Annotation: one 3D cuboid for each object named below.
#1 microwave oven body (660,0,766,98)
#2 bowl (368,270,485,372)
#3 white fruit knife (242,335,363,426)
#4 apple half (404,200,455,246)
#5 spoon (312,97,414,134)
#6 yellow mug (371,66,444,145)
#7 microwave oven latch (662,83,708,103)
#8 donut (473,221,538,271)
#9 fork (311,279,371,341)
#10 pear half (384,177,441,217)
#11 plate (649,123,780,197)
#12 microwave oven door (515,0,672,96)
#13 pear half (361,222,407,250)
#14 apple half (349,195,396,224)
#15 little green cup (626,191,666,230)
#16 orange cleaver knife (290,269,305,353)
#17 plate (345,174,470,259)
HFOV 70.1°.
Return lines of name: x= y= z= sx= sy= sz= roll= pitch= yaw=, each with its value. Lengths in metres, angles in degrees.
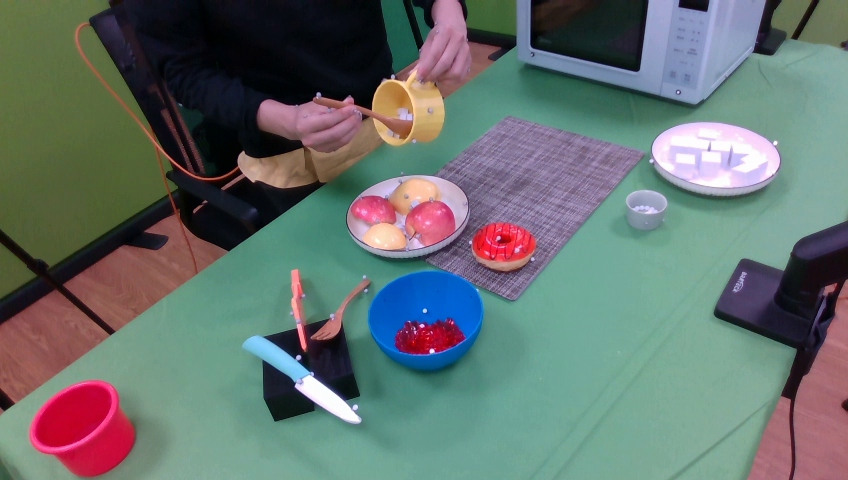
microwave oven body: x=0.472 y=-0.513 z=1.317 sx=0.438 sy=0.261 sz=0.327 roll=26 pitch=51 yaw=34
bowl: x=0.007 y=0.118 z=0.791 sx=0.151 sy=0.077 sz=0.150 roll=-5 pitch=40 yaw=4
white fruit knife: x=-0.148 y=0.167 z=0.730 sx=0.206 sy=0.016 sz=0.027 roll=26 pitch=80 yaw=31
apple half: x=0.009 y=-0.035 z=0.969 sx=0.075 sy=0.053 sz=0.080 roll=-27 pitch=40 yaw=-23
spoon: x=-0.081 y=-0.184 z=0.890 sx=0.195 sy=0.041 sz=0.021 roll=10 pitch=64 yaw=-41
yellow mug: x=-0.021 y=-0.212 z=0.935 sx=0.064 sy=0.131 sz=0.099 roll=-17 pitch=56 yaw=-44
microwave oven latch: x=0.517 y=-0.296 z=1.204 sx=0.078 sy=0.029 sz=0.030 roll=28 pitch=52 yaw=35
donut: x=0.123 y=0.008 z=0.923 sx=0.099 sy=0.048 sz=0.098 roll=-3 pitch=38 yaw=3
fork: x=-0.108 y=0.092 z=0.832 sx=0.028 sy=0.019 sz=0.207 roll=-6 pitch=19 yaw=15
pear half: x=-0.030 y=-0.079 z=1.033 sx=0.109 sy=0.056 sz=0.076 roll=0 pitch=36 yaw=16
plate: x=0.497 y=-0.134 z=1.046 sx=0.207 sy=0.039 sz=0.206 roll=-4 pitch=40 yaw=4
microwave oven door: x=0.344 y=-0.455 z=1.259 sx=0.353 sy=0.245 sz=0.039 roll=26 pitch=51 yaw=33
pear half: x=-0.063 y=-0.012 z=0.959 sx=0.071 sy=0.031 sz=0.087 roll=2 pitch=25 yaw=-25
apple half: x=-0.081 y=-0.056 z=1.009 sx=0.081 sy=0.033 sz=0.081 roll=11 pitch=24 yaw=-5
little green cup: x=0.352 y=-0.046 z=0.963 sx=0.061 sy=0.039 sz=0.061 roll=-4 pitch=40 yaw=4
orange cleaver knife: x=-0.175 y=0.094 z=0.844 sx=0.012 sy=0.077 sz=0.210 roll=-11 pitch=15 yaw=-10
plate: x=-0.026 y=-0.037 z=1.004 sx=0.209 sy=0.038 sz=0.208 roll=-4 pitch=40 yaw=4
